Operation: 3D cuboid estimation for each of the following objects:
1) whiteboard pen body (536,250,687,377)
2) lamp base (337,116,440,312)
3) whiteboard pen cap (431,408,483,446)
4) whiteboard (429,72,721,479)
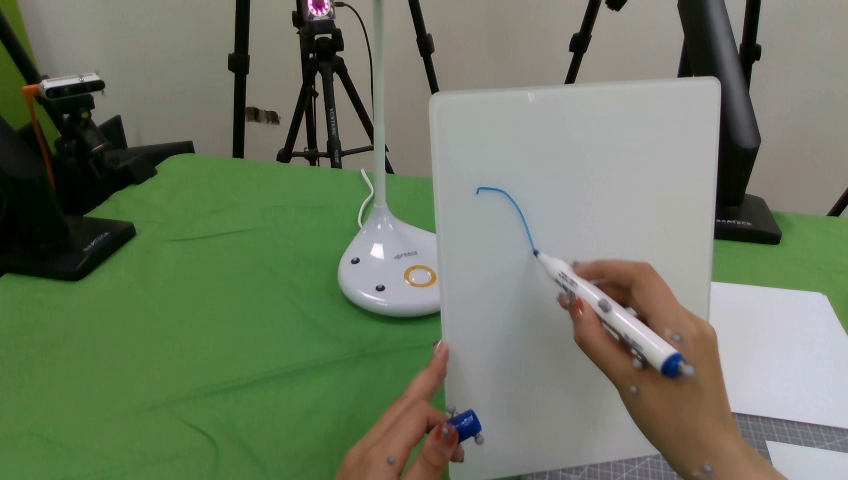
[{"bbox_3d":[0.113,0.040,0.391,0.017,0.017,0.139,-14,33,-21],"label":"whiteboard pen body"},{"bbox_3d":[-0.029,-0.038,0.679,0.161,0.181,0.177,-21,35,-30],"label":"lamp base"},{"bbox_3d":[0.023,0.122,0.398,0.033,0.018,0.018,-30,24,23],"label":"whiteboard pen cap"},{"bbox_3d":[0.110,0.022,0.522,0.217,0.306,0.143,-5,13,-7],"label":"whiteboard"}]
